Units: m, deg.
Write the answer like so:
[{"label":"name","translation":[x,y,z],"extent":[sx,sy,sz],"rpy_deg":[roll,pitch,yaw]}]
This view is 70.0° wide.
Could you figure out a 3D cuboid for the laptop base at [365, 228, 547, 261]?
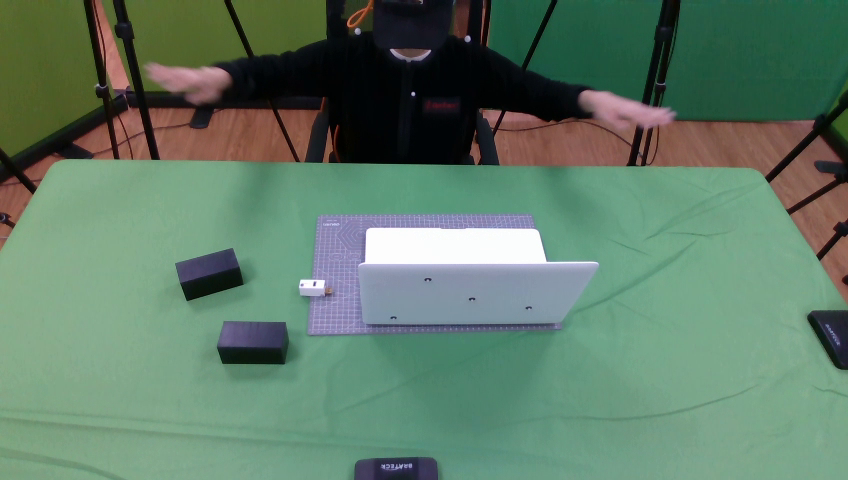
[{"label":"laptop base","translation":[0.064,0.063,1.143],"extent":[0.355,0.023,0.234],"rpy_deg":[0,42,-4]}]

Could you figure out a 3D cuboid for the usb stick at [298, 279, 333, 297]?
[{"label":"usb stick","translation":[-0.195,0.087,1.092],"extent":[0.059,0.027,0.021],"rpy_deg":[5,46,-3]}]

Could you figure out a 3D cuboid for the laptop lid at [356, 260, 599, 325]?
[{"label":"laptop lid","translation":[0.074,0.089,0.958],"extent":[0.357,0.242,0.013],"rpy_deg":[1,60,-5]}]
